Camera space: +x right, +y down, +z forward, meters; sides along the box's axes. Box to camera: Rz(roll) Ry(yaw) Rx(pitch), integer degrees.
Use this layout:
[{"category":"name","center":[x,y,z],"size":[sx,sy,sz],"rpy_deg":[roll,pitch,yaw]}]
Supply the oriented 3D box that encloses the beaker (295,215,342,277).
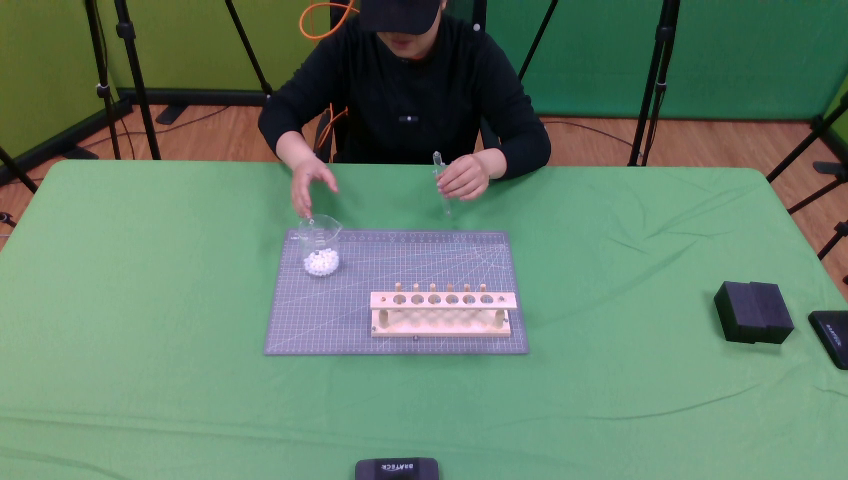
[{"category":"beaker","center":[-0.191,0.013,1.114],"size":[0.084,0.101,0.073],"rpy_deg":[-12,49,-17]}]

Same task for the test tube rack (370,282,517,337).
[{"category":"test tube rack","center":[0.030,0.116,1.041],"size":[0.242,0.085,0.066],"rpy_deg":[1,46,-4]}]

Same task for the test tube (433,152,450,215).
[{"category":"test tube","center":[0.035,-0.107,1.183],"size":[0.017,0.151,0.017],"rpy_deg":[-7,43,6]}]
